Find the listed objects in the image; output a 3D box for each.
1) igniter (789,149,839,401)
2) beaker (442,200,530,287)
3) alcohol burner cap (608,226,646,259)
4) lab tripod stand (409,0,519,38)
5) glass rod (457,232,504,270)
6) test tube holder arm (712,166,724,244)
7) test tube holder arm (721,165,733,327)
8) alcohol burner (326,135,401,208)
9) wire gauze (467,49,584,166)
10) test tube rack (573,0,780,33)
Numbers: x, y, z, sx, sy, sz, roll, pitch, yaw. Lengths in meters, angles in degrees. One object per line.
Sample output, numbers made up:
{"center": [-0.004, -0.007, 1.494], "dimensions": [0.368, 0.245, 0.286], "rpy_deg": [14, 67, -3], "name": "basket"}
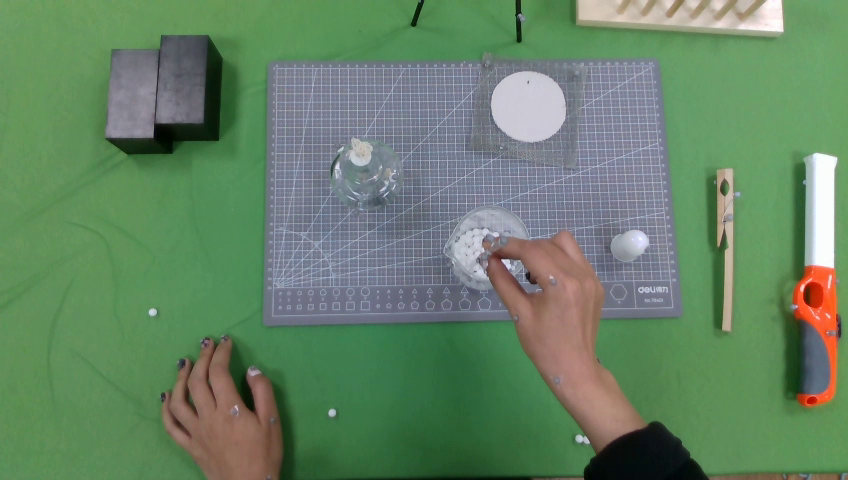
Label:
{"center": [0.425, 0.036, 0.659], "dimensions": [0.057, 0.025, 0.275], "rpy_deg": [9, 80, -10], "name": "igniter"}
{"center": [0.057, 0.009, 0.613], "dimensions": [0.084, 0.100, 0.073], "rpy_deg": [-9, 80, -2], "name": "beaker"}
{"center": [0.219, 0.000, 0.649], "dimensions": [0.034, 0.048, 0.033], "rpy_deg": [0, 80, -1], "name": "alcohol burner cap"}
{"center": [0.052, -0.291, 0.649], "dimensions": [0.148, 0.132, 0.148], "rpy_deg": [0, 82, -1], "name": "lab tripod stand"}
{"center": [0.047, 0.012, 0.554], "dimensions": [0.008, 0.200, 0.008], "rpy_deg": [1, 80, -6], "name": "glass rod"}
{"center": [0.328, -0.039, 0.674], "dimensions": [0.010, 0.015, 0.087], "rpy_deg": [-4, 79, 33], "name": "test tube holder arm"}
{"center": [0.331, 0.005, 0.664], "dimensions": [0.013, 0.015, 0.177], "rpy_deg": [-4, 78, 33], "name": "test tube holder arm"}
{"center": [-0.063, -0.075, 0.616], "dimensions": [0.078, 0.119, 0.077], "rpy_deg": [0, 79, 1], "name": "alcohol burner"}
{"center": [0.117, -0.153, 0.689], "dimensions": [0.125, 0.011, 0.121], "rpy_deg": [10, 81, -1], "name": "wire gauze"}
{"center": [0.298, -0.291, 0.681], "dimensions": [0.242, 0.085, 0.066], "rpy_deg": [3, 80, -1], "name": "test tube rack"}
